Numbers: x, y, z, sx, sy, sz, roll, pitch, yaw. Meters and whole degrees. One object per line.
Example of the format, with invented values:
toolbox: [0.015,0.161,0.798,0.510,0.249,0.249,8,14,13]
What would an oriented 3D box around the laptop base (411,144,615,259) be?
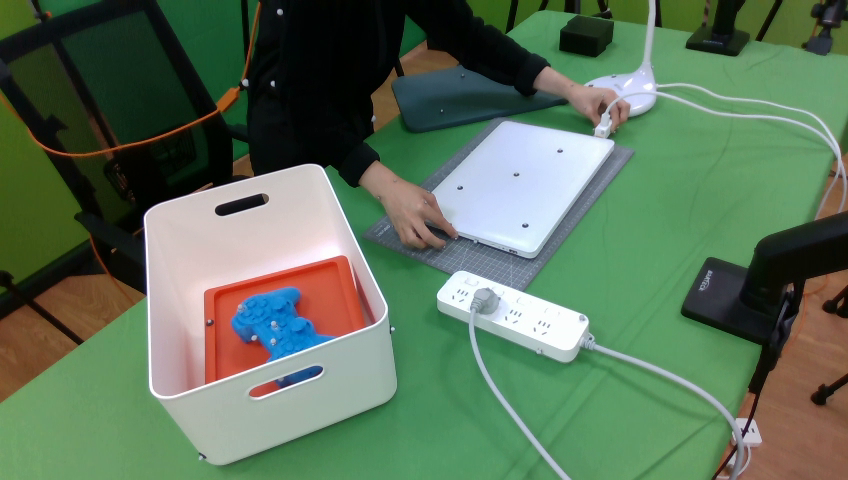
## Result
laptop base: [0.167,-0.102,1.075,0.234,0.023,0.355,16,45,30]

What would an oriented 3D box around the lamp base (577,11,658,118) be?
lamp base: [0.406,-0.364,1.223,0.180,0.181,0.159,-20,42,-18]

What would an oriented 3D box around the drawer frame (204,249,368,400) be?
drawer frame: [-0.174,0.129,0.790,0.202,0.083,0.212,-16,45,-8]

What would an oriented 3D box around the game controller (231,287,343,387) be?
game controller: [-0.167,0.110,0.734,0.097,0.052,0.154,-35,47,-22]

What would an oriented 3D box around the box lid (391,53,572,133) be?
box lid: [0.123,-0.339,1.366,0.372,0.015,0.261,-12,40,-5]

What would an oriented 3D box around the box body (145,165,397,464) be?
box body: [-0.205,0.080,0.802,0.255,0.161,0.361,-18,41,-13]

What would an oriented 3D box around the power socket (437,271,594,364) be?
power socket: [0.118,0.102,0.830,0.225,0.033,0.072,20,48,28]

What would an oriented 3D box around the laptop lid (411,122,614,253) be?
laptop lid: [0.164,-0.112,1.068,0.240,0.013,0.357,19,46,30]

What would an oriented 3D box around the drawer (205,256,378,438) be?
drawer: [-0.177,0.130,0.787,0.195,0.073,0.210,-14,39,-9]

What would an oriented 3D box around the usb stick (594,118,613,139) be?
usb stick: [0.341,-0.208,1.155,0.021,0.027,0.059,21,50,25]

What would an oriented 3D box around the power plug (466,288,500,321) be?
power plug: [0.072,0.093,0.813,0.035,0.053,0.073,30,54,35]
